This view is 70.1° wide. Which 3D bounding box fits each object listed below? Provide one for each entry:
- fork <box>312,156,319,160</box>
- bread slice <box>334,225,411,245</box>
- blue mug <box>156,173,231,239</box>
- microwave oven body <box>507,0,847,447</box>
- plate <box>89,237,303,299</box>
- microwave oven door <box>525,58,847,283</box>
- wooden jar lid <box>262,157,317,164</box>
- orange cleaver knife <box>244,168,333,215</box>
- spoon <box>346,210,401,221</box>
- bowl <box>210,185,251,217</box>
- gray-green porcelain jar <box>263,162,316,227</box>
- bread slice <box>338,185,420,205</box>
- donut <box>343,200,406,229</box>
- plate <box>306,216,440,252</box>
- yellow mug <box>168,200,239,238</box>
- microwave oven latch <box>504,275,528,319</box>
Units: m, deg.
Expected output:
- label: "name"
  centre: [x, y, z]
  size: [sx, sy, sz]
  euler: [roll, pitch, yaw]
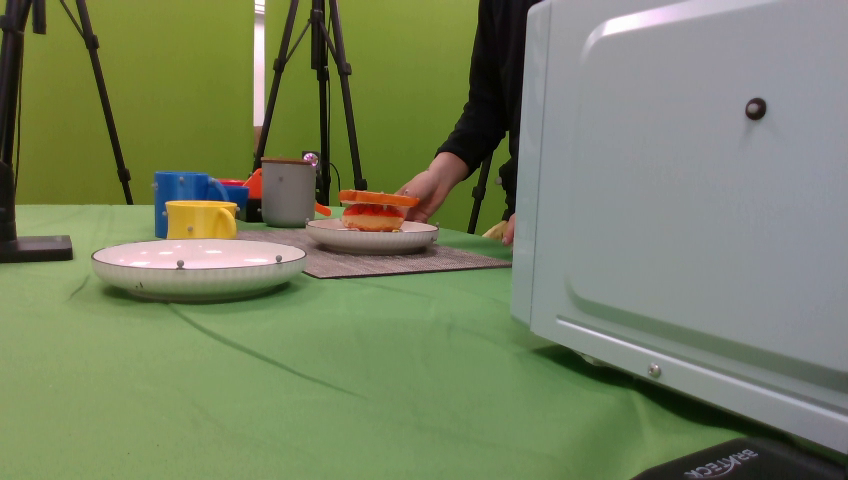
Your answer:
- label: "fork"
  centre: [-0.331, -0.144, 1.505]
  size: [0.207, 0.018, 0.028]
  euler: [-42, -20, 22]
- label: "bread slice"
  centre: [-0.075, -0.009, 0.937]
  size: [0.105, 0.019, 0.131]
  euler: [-1, 8, -20]
- label: "blue mug"
  centre: [-0.381, -0.057, 1.004]
  size: [0.117, 0.106, 0.082]
  euler: [1, 8, -12]
- label: "microwave oven body"
  centre: [0.331, -0.042, 0.425]
  size: [0.444, 0.260, 0.324]
  euler: [-2, 8, -31]
- label: "plate"
  centre: [-0.233, 0.029, 0.637]
  size: [0.208, 0.039, 0.207]
  euler: [2, 7, 0]
- label: "microwave oven door"
  centre: [0.301, -0.090, 0.749]
  size: [0.354, 0.243, 0.039]
  euler: [6, 9, 33]
- label: "wooden jar lid"
  centre: [-0.269, -0.154, 1.208]
  size: [0.108, 0.020, 0.108]
  euler: [3, 4, 0]
- label: "orange cleaver knife"
  centre: [-0.300, -0.089, 1.351]
  size: [0.212, 0.077, 0.012]
  euler: [28, -9, -34]
- label: "spoon"
  centre: [-0.121, -0.060, 1.400]
  size: [0.042, 0.021, 0.192]
  euler: [-27, 24, -38]
- label: "bowl"
  centre: [-0.408, -0.064, 1.154]
  size: [0.151, 0.077, 0.151]
  euler: [2, 8, 0]
- label: "gray-green porcelain jar"
  centre: [-0.271, -0.092, 1.217]
  size: [0.106, 0.126, 0.106]
  euler: [2, 7, 0]
- label: "bread slice"
  centre: [-0.080, -0.068, 0.938]
  size: [0.107, 0.018, 0.134]
  euler: [6, 0, -22]
- label: "donut"
  centre: [-0.078, -0.038, 0.946]
  size: [0.099, 0.048, 0.099]
  euler: [1, 7, 0]
- label: "plate"
  centre: [-0.080, -0.011, 0.949]
  size: [0.209, 0.038, 0.209]
  euler: [2, 7, 0]
- label: "yellow mug"
  centre: [-0.320, -0.023, 0.904]
  size: [0.130, 0.064, 0.100]
  euler: [9, 10, 36]
- label: "microwave oven latch"
  centre: [0.100, 0.041, 0.471]
  size: [0.079, 0.029, 0.030]
  euler: [-1, 7, -28]
